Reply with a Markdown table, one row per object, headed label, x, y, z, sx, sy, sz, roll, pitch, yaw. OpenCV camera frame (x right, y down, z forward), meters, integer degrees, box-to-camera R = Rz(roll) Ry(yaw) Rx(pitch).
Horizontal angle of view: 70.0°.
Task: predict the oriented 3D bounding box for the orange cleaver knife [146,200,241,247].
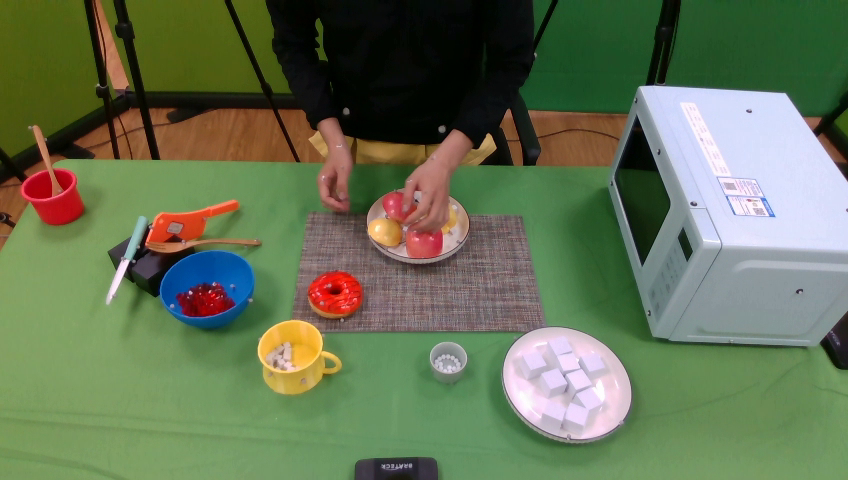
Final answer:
| label | x | y | z | sx | sy | sz | roll | pitch | yaw |
| --- | --- | --- | --- | --- | --- | --- | --- | --- | --- |
| orange cleaver knife | -0.435 | -0.033 | 1.157 | 0.012 | 0.077 | 0.211 | 31 | 26 | 19 |

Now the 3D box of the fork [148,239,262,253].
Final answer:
| label | x | y | z | sx | sy | sz | roll | pitch | yaw |
| --- | --- | --- | --- | --- | --- | --- | --- | --- | --- |
| fork | -0.398 | 0.008 | 1.117 | 0.208 | 0.019 | 0.028 | -5 | 34 | -37 |

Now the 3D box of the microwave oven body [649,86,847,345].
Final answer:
| label | x | y | z | sx | sy | sz | roll | pitch | yaw |
| --- | --- | --- | --- | --- | --- | --- | --- | --- | --- |
| microwave oven body | 0.567 | -0.053 | 1.118 | 0.326 | 0.261 | 0.439 | 2 | 45 | -1 |

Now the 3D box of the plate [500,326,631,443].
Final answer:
| label | x | y | z | sx | sy | sz | roll | pitch | yaw |
| --- | --- | --- | --- | --- | --- | --- | --- | --- | --- |
| plate | 0.224 | 0.234 | 0.978 | 0.208 | 0.039 | 0.206 | 2 | 46 | -2 |

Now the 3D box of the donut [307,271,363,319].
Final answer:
| label | x | y | z | sx | sy | sz | roll | pitch | yaw |
| --- | --- | --- | --- | --- | --- | --- | --- | --- | --- |
| donut | -0.157 | 0.097 | 1.072 | 0.099 | 0.048 | 0.098 | 4 | 45 | -4 |

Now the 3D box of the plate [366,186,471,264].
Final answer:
| label | x | y | z | sx | sy | sz | roll | pitch | yaw |
| --- | --- | --- | --- | --- | --- | --- | --- | --- | --- |
| plate | -0.013 | -0.027 | 1.207 | 0.209 | 0.038 | 0.208 | 2 | 46 | -2 |

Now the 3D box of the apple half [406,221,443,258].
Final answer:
| label | x | y | z | sx | sy | sz | roll | pitch | yaw |
| --- | --- | --- | --- | --- | --- | --- | --- | --- | --- |
| apple half | 0.001 | -0.006 | 1.164 | 0.075 | 0.053 | 0.080 | 4 | 42 | 0 |

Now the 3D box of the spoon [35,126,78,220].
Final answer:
| label | x | y | z | sx | sy | sz | roll | pitch | yaw |
| --- | --- | --- | --- | --- | --- | --- | --- | --- | --- |
| spoon | -0.726 | -0.132 | 1.188 | 0.042 | 0.021 | 0.194 | -18 | 94 | -21 |

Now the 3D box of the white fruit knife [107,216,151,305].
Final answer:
| label | x | y | z | sx | sy | sz | roll | pitch | yaw |
| --- | --- | --- | --- | --- | --- | --- | --- | --- | --- |
| white fruit knife | -0.518 | 0.032 | 1.066 | 0.027 | 0.016 | 0.206 | -19 | 45 | 19 |

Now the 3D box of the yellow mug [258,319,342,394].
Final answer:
| label | x | y | z | sx | sy | sz | roll | pitch | yaw |
| --- | --- | --- | --- | --- | --- | --- | --- | --- | --- |
| yellow mug | -0.196 | 0.189 | 0.972 | 0.131 | 0.064 | 0.099 | 9 | 46 | 3 |

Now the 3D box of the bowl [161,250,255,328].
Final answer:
| label | x | y | z | sx | sy | sz | roll | pitch | yaw |
| --- | --- | --- | --- | --- | --- | --- | --- | --- | --- |
| bowl | -0.362 | 0.097 | 1.040 | 0.151 | 0.077 | 0.150 | 2 | 45 | -2 |

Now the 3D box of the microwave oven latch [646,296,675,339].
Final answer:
| label | x | y | z | sx | sy | sz | roll | pitch | yaw |
| --- | --- | --- | --- | --- | --- | --- | --- | --- | --- |
| microwave oven latch | 0.412 | 0.134 | 1.061 | 0.030 | 0.029 | 0.078 | 4 | 45 | 1 |

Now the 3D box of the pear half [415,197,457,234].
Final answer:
| label | x | y | z | sx | sy | sz | roll | pitch | yaw |
| --- | --- | --- | --- | --- | --- | --- | --- | --- | --- |
| pear half | 0.016 | -0.065 | 1.227 | 0.076 | 0.056 | 0.109 | -27 | 50 | -33 |

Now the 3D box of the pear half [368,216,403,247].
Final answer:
| label | x | y | z | sx | sy | sz | roll | pitch | yaw |
| --- | --- | --- | --- | --- | --- | --- | --- | --- | --- |
| pear half | -0.070 | -0.026 | 1.183 | 0.070 | 0.031 | 0.087 | 31 | 46 | -2 |

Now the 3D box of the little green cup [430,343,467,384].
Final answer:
| label | x | y | z | sx | sy | sz | roll | pitch | yaw |
| --- | --- | --- | --- | --- | --- | --- | --- | --- | --- |
| little green cup | 0.039 | 0.203 | 0.993 | 0.061 | 0.039 | 0.061 | 2 | 46 | -2 |

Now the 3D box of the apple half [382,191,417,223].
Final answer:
| label | x | y | z | sx | sy | sz | roll | pitch | yaw |
| --- | --- | --- | --- | --- | --- | --- | --- | --- | --- |
| apple half | -0.043 | -0.072 | 1.225 | 0.081 | 0.033 | 0.081 | 20 | 40 | -18 |

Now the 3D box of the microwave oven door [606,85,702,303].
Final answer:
| label | x | y | z | sx | sy | sz | roll | pitch | yaw |
| --- | --- | --- | --- | --- | --- | --- | --- | --- | --- |
| microwave oven door | 0.423 | -0.094 | 1.140 | 0.039 | 0.245 | 0.353 | 2 | 46 | -1 |
